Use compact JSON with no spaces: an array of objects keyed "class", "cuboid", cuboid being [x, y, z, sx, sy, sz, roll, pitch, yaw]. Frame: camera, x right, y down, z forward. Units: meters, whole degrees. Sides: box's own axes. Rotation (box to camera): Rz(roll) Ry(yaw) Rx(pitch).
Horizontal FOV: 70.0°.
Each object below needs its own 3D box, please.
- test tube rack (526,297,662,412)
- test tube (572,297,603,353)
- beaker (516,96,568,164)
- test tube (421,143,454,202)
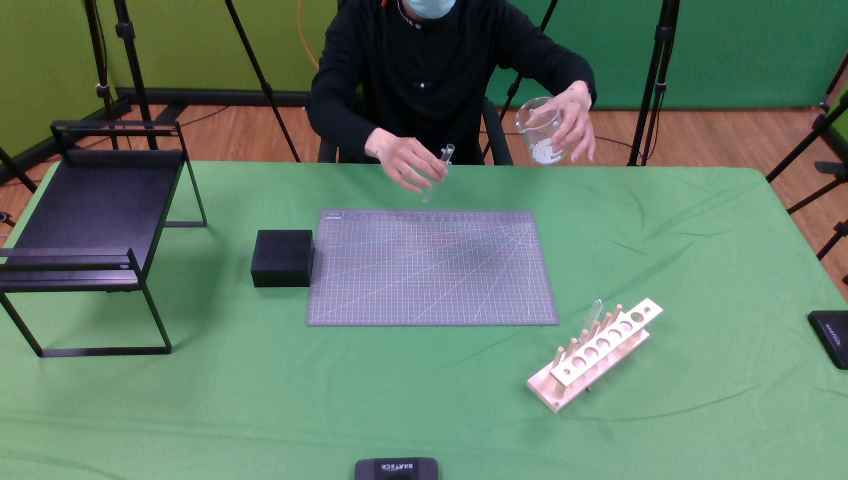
[{"class":"test tube rack","cuboid":[0.284,0.176,1.007,0.242,0.085,0.066,-29,54,-27]},{"class":"test tube","cuboid":[0.263,0.141,0.977,0.017,0.151,0.017,2,47,-2]},{"class":"beaker","cuboid":[0.208,-0.188,1.066,0.084,0.101,0.073,-43,48,-6]},{"class":"test tube","cuboid":[0.024,-0.123,1.130,0.017,0.150,0.017,13,48,-14]}]
